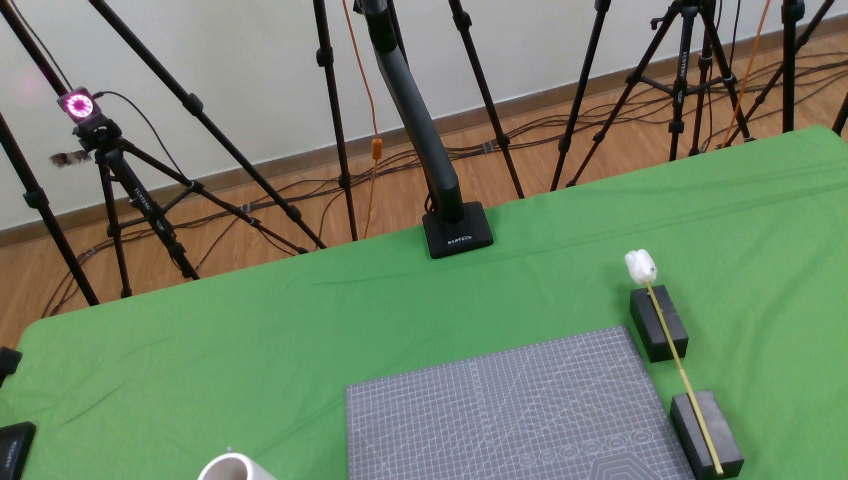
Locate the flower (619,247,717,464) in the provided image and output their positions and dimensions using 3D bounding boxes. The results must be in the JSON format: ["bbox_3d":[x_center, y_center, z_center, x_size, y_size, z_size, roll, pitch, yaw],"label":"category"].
[{"bbox_3d":[0.337,0.141,0.842,0.044,0.038,0.358,14,41,-14],"label":"flower"}]

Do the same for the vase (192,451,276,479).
[{"bbox_3d":[-0.207,0.333,0.742,0.098,0.202,0.097,-6,46,7],"label":"vase"}]
